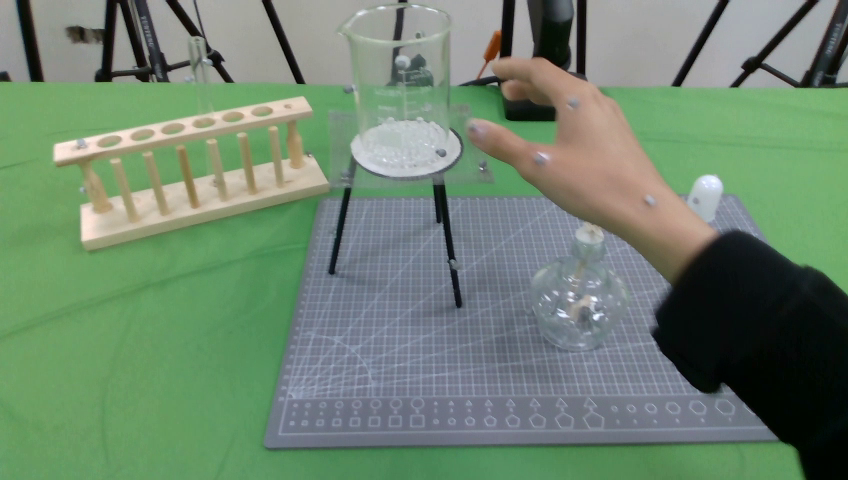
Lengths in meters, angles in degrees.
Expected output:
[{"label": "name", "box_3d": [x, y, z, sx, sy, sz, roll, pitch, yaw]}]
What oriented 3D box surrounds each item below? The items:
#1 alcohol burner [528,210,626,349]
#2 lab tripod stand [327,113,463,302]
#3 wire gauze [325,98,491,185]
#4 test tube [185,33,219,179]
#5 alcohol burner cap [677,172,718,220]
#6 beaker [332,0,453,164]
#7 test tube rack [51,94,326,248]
[{"label": "alcohol burner", "box_3d": [0.122, 0.028, 0.473, 0.078, 0.120, 0.077, 0, 39, 0]}, {"label": "lab tripod stand", "box_3d": [-0.018, -0.029, 0.524, 0.148, 0.132, 0.147, 0, 42, 1]}, {"label": "wire gauze", "box_3d": [-0.018, -0.079, 0.481, 0.125, 0.011, 0.120, -6, 39, -3]}, {"label": "test tube", "box_3d": [-0.220, -0.129, 0.604, 0.017, 0.151, 0.017, 3, 35, -2]}, {"label": "alcohol burner cap", "box_3d": [0.281, -0.048, 0.618, 0.034, 0.048, 0.033, 0, 40, 0]}, {"label": "beaker", "box_3d": [-0.021, -0.114, 0.447, 0.084, 0.101, 0.073, 1, 40, 3]}, {"label": "test tube rack", "box_3d": [-0.230, -0.075, 0.618, 0.243, 0.086, 0.066, -16, 43, -19]}]
